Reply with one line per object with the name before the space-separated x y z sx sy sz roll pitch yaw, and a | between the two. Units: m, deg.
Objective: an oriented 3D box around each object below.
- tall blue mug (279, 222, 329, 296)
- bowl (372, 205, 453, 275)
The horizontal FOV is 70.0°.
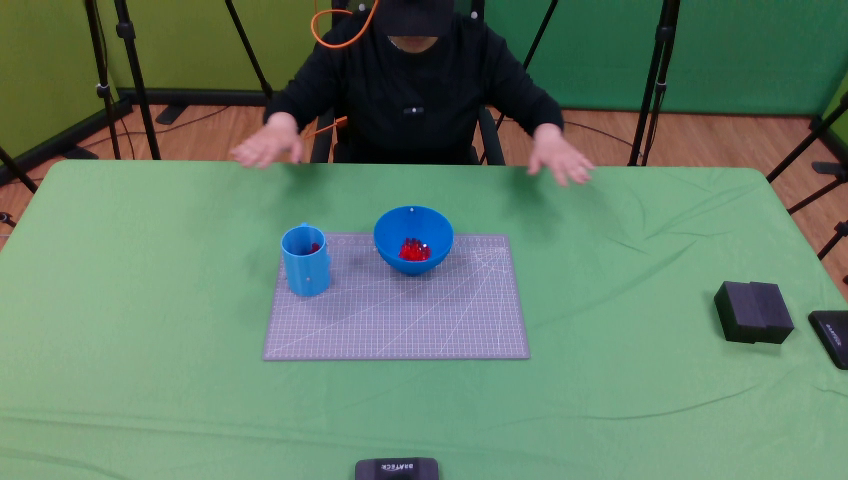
tall blue mug | -0.221 0.029 1.090 0.078 0.108 0.106 -26 53 -25
bowl | -0.022 0.013 1.143 0.151 0.077 0.150 2 46 -2
